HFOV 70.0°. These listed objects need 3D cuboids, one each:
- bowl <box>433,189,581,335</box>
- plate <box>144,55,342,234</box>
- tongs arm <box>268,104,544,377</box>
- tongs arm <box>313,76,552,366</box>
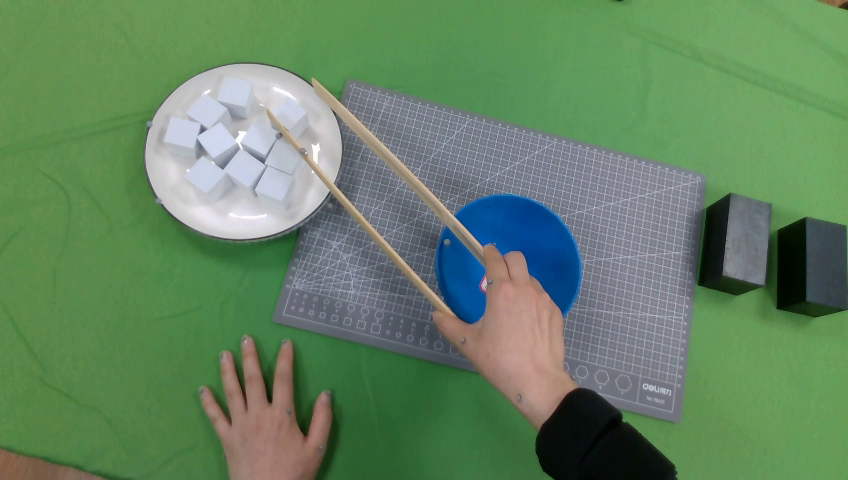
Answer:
[{"bbox_3d":[0.079,0.030,0.638,0.152,0.077,0.150,2,74,-7],"label":"bowl"},{"bbox_3d":[-0.194,-0.102,0.664,0.208,0.039,0.206,2,74,-5],"label":"plate"},{"bbox_3d":[-0.031,-0.015,0.585,0.051,0.027,0.381,-34,68,-15],"label":"tongs arm"},{"bbox_3d":[-0.003,-0.035,0.594,0.028,0.028,0.384,-34,68,-18],"label":"tongs arm"}]
